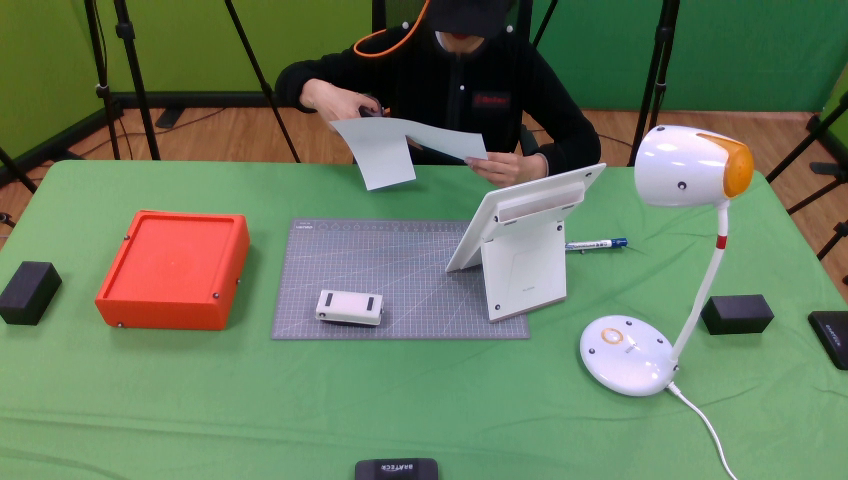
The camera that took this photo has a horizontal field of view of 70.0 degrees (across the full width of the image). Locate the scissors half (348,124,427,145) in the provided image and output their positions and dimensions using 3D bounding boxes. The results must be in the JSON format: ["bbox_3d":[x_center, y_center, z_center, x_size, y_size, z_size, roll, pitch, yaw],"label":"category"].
[{"bbox_3d":[-0.076,-0.218,1.243,0.175,0.040,0.013,1,13,21],"label":"scissors half"}]

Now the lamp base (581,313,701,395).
[{"bbox_3d":[0.361,0.144,0.972,0.178,0.181,0.160,34,53,23],"label":"lamp base"}]

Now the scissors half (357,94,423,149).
[{"bbox_3d":[-0.068,-0.241,1.236,0.175,0.040,0.013,43,20,9],"label":"scissors half"}]

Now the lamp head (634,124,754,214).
[{"bbox_3d":[0.351,-0.089,0.776,0.112,0.113,0.122,-30,30,-28],"label":"lamp head"}]

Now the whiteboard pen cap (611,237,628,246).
[{"bbox_3d":[0.390,0.004,1.215,0.033,0.018,0.018,-7,47,-2],"label":"whiteboard pen cap"}]

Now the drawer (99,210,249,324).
[{"bbox_3d":[-0.435,0.044,1.081,0.194,0.073,0.210,3,47,-2],"label":"drawer"}]

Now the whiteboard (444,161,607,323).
[{"bbox_3d":[0.186,0.025,1.029,0.217,0.306,0.143,-14,68,-18],"label":"whiteboard"}]

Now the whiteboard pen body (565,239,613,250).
[{"bbox_3d":[0.331,0.008,1.211,0.141,0.017,0.017,-5,47,-4],"label":"whiteboard pen body"}]

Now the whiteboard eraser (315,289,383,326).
[{"bbox_3d":[-0.130,0.119,1.054,0.113,0.042,0.055,6,47,1],"label":"whiteboard eraser"}]

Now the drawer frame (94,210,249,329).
[{"bbox_3d":[-0.434,0.048,1.076,0.202,0.083,0.212,2,47,-3],"label":"drawer frame"}]
